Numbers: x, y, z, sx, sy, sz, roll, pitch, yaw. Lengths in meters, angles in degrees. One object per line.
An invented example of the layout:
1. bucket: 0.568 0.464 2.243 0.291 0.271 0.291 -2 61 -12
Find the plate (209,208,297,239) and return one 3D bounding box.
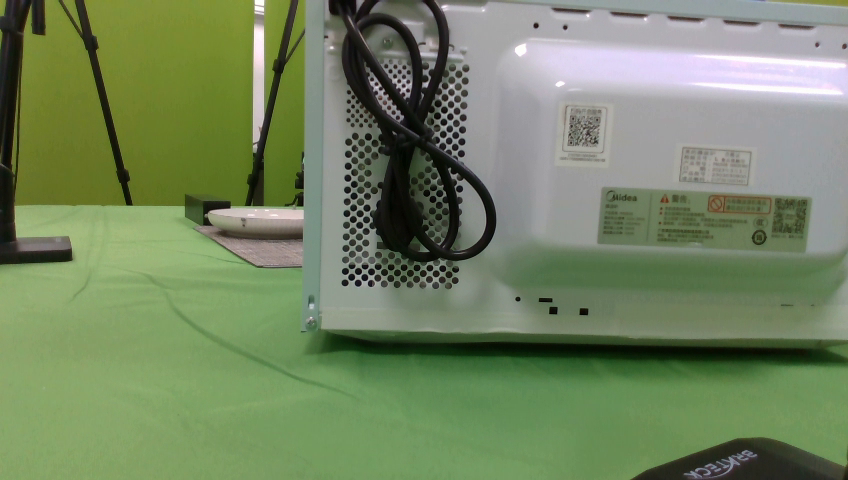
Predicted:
1. plate: -0.271 -0.029 1.074 0.208 0.039 0.207 3 7 0

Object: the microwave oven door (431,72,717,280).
1. microwave oven door: 0.178 -0.089 0.791 0.354 0.243 0.039 6 7 29

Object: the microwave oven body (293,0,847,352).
1. microwave oven body: 0.122 -0.055 0.550 0.442 0.260 0.325 3 7 -5

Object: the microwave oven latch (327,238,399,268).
1. microwave oven latch: -0.069 0.015 0.694 0.079 0.029 0.030 3 7 -3
